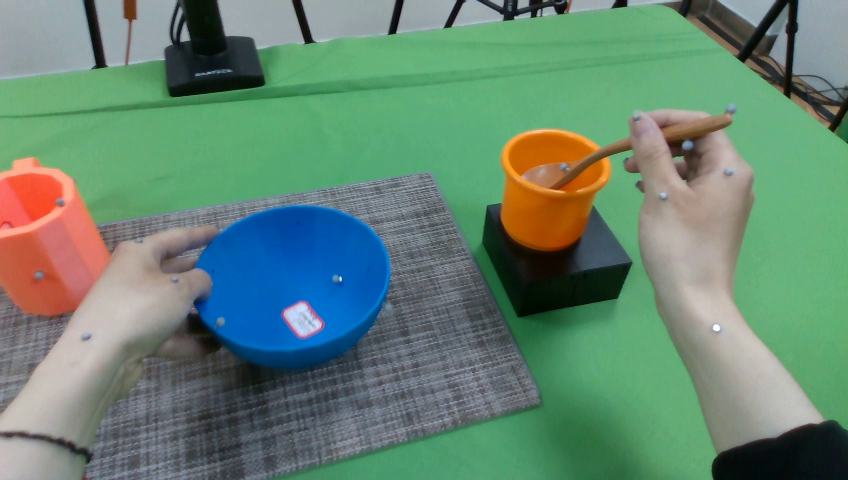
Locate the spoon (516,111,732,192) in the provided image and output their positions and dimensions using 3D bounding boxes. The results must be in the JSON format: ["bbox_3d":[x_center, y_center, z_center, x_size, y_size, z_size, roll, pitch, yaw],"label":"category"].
[{"bbox_3d":[0.135,-0.064,0.447,0.022,0.193,0.041,46,65,-15],"label":"spoon"}]

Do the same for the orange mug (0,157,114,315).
[{"bbox_3d":[-0.332,-0.012,0.525,0.083,0.101,0.125,-16,53,-17],"label":"orange mug"}]

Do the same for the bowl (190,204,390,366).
[{"bbox_3d":[-0.103,0.049,0.493,0.151,0.077,0.150,2,45,-2],"label":"bowl"}]
